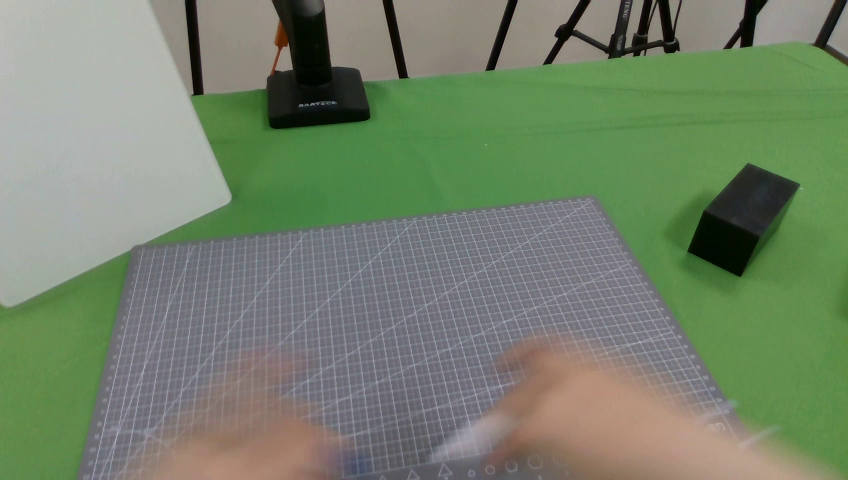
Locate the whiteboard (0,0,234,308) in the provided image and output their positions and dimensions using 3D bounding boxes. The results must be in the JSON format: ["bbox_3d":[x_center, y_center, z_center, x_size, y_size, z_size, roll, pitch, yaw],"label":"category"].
[{"bbox_3d":[-0.346,-0.139,0.534,0.217,0.308,0.142,-33,33,-30],"label":"whiteboard"}]

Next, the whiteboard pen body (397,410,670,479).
[{"bbox_3d":[0.054,0.109,0.309,0.141,0.017,0.017,-13,43,2],"label":"whiteboard pen body"}]

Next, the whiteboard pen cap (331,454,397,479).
[{"bbox_3d":[-0.030,0.116,0.305,0.033,0.018,0.018,-2,42,-13],"label":"whiteboard pen cap"}]
